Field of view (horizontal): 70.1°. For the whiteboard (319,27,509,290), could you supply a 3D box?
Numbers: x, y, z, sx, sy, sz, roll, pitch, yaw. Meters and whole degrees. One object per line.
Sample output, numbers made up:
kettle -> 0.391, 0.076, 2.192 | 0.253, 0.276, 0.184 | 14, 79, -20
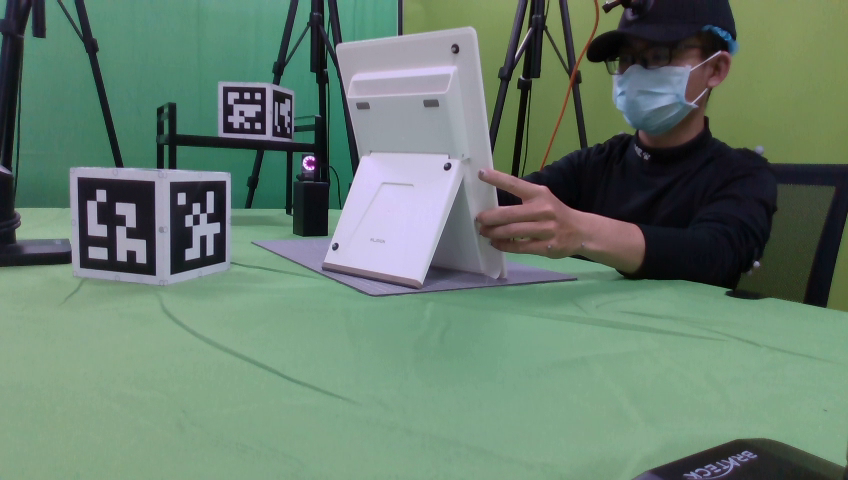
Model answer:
whiteboard -> -0.046, -0.076, 0.721 | 0.216, 0.305, 0.144 | 9, 29, 39

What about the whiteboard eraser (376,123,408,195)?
whiteboard eraser -> -0.042, -0.108, 0.810 | 0.041, 0.101, 0.019 | 24, 38, 24
